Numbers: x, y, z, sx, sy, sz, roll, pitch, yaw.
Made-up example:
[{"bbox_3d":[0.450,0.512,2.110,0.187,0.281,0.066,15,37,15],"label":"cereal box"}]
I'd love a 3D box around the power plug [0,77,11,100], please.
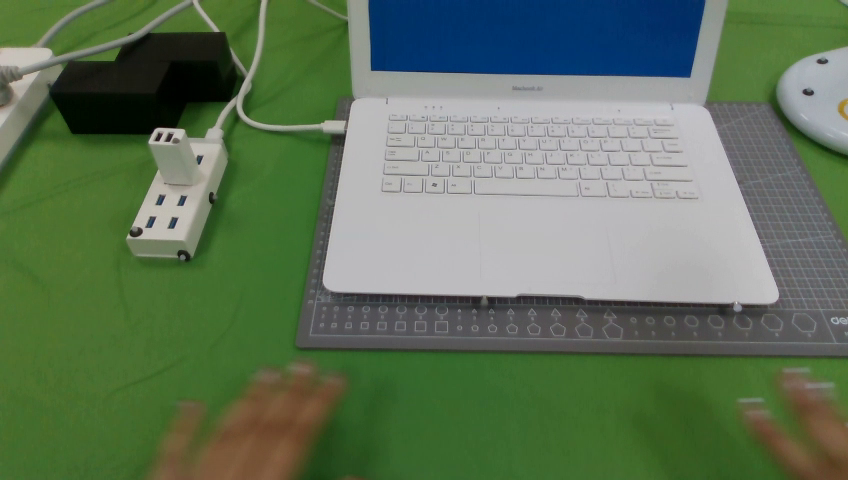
[{"bbox_3d":[-0.419,-0.155,0.588,0.035,0.053,0.072,-5,43,-17],"label":"power plug"}]

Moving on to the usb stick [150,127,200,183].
[{"bbox_3d":[-0.207,-0.065,0.511,0.027,0.060,0.021,0,50,2],"label":"usb stick"}]

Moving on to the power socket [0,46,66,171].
[{"bbox_3d":[-0.423,-0.117,0.584,0.072,0.033,0.224,2,50,0],"label":"power socket"}]

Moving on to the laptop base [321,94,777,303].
[{"bbox_3d":[0.099,-0.044,0.538,0.354,0.023,0.233,2,54,1],"label":"laptop base"}]

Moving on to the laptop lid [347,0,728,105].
[{"bbox_3d":[0.104,-0.237,0.554,0.357,0.243,0.013,0,29,1],"label":"laptop lid"}]

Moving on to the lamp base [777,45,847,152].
[{"bbox_3d":[0.449,-0.196,0.562,0.159,0.182,0.178,26,52,20],"label":"lamp base"}]

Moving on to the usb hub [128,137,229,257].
[{"bbox_3d":[-0.210,-0.041,0.528,0.049,0.025,0.124,2,50,2],"label":"usb hub"}]
